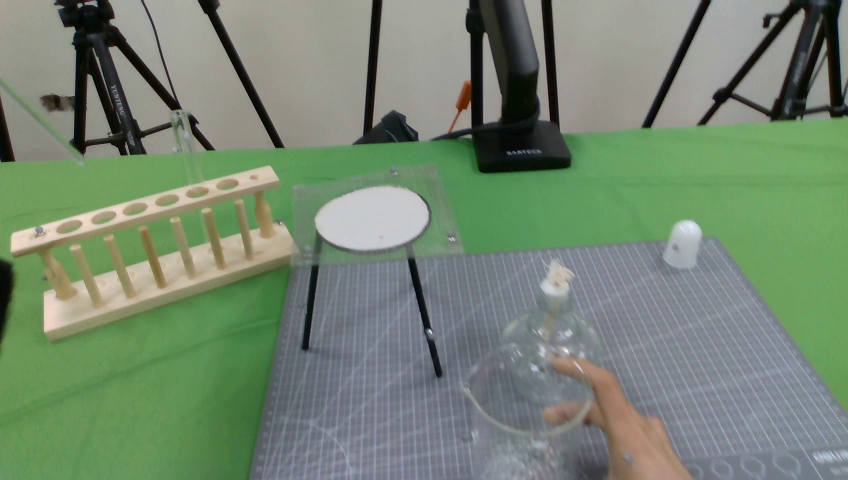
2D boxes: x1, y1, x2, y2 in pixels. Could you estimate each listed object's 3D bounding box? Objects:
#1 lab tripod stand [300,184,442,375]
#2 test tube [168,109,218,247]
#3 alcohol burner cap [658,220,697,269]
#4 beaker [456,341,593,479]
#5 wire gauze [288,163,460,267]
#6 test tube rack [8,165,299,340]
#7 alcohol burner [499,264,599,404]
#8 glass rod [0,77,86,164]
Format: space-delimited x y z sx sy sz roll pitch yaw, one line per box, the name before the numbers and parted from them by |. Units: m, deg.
lab tripod stand | -0.041 0.032 0.506 0.148 0.133 0.147 -2 39 2
test tube | -0.227 -0.057 0.600 0.017 0.151 0.017 -1 34 1
alcohol burner cap | 0.255 0.001 0.606 0.034 0.048 0.033 -1 37 1
beaker | 0.064 0.128 0.400 0.084 0.101 0.073 1 36 7
wire gauze | -0.044 -0.021 0.466 0.125 0.011 0.120 -8 37 -5
test tube rack | -0.257 0.007 0.599 0.243 0.086 0.066 -19 40 -20
alcohol burner | 0.097 0.069 0.466 0.078 0.120 0.077 -2 35 2
glass rod | -0.276 -0.107 0.379 0.008 0.201 0.008 -4 61 7
